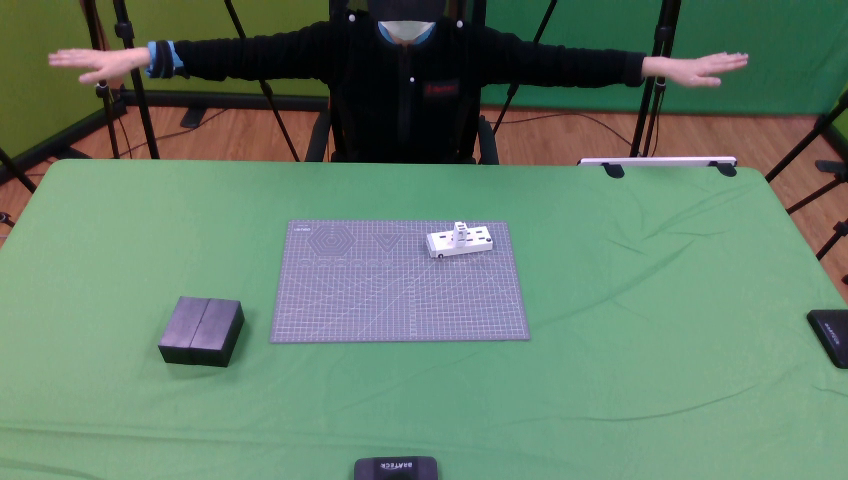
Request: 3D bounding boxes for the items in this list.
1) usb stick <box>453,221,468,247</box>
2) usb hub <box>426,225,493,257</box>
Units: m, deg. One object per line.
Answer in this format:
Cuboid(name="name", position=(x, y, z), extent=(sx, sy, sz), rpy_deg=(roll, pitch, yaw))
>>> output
Cuboid(name="usb stick", position=(0.069, -0.006, 1.161), extent=(0.021, 0.059, 0.027), rpy_deg=(-7, 48, -13))
Cuboid(name="usb hub", position=(0.070, 0.003, 1.193), extent=(0.125, 0.025, 0.049), rpy_deg=(-8, 48, -11))
